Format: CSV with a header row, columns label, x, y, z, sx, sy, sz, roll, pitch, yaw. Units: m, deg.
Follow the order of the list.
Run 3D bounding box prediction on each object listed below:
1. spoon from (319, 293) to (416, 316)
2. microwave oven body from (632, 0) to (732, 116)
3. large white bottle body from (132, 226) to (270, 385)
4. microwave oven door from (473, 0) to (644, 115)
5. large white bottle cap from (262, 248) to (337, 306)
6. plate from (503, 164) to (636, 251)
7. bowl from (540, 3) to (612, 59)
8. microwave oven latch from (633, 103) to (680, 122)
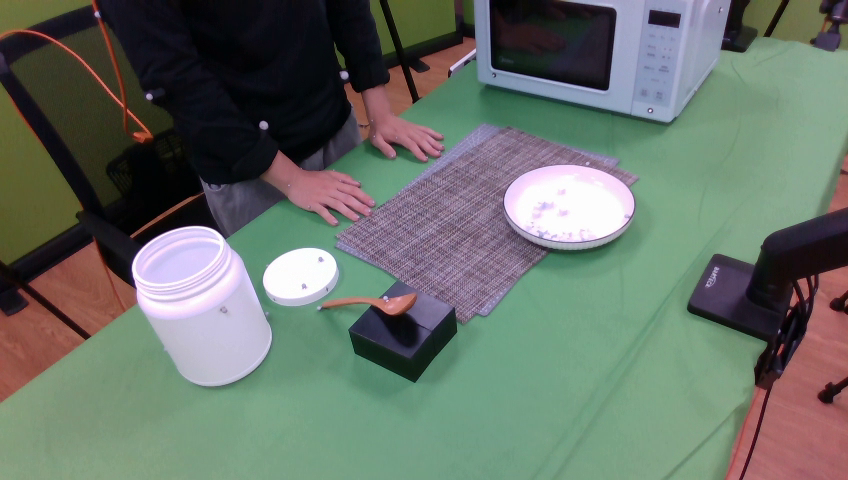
label,x,y,z,sx,sy,sz,roll,pitch,yaw
spoon,-0.082,0.086,0.826,0.192,0.022,0.041,-3,36,41
microwave oven body,0.377,-0.462,1.267,0.438,0.261,0.327,21,48,30
large white bottle body,-0.286,0.085,0.784,0.130,0.185,0.130,-4,41,4
microwave oven door,0.257,-0.396,1.199,0.353,0.245,0.039,21,48,29
large white bottle cap,-0.192,0.056,0.934,0.115,0.018,0.114,-4,41,4
plate,0.232,-0.050,0.976,0.209,0.038,0.208,-3,41,3
bowl,0.323,-0.441,1.298,0.151,0.077,0.150,-4,42,4
microwave oven latch,0.444,-0.249,1.157,0.078,0.029,0.030,21,48,30
